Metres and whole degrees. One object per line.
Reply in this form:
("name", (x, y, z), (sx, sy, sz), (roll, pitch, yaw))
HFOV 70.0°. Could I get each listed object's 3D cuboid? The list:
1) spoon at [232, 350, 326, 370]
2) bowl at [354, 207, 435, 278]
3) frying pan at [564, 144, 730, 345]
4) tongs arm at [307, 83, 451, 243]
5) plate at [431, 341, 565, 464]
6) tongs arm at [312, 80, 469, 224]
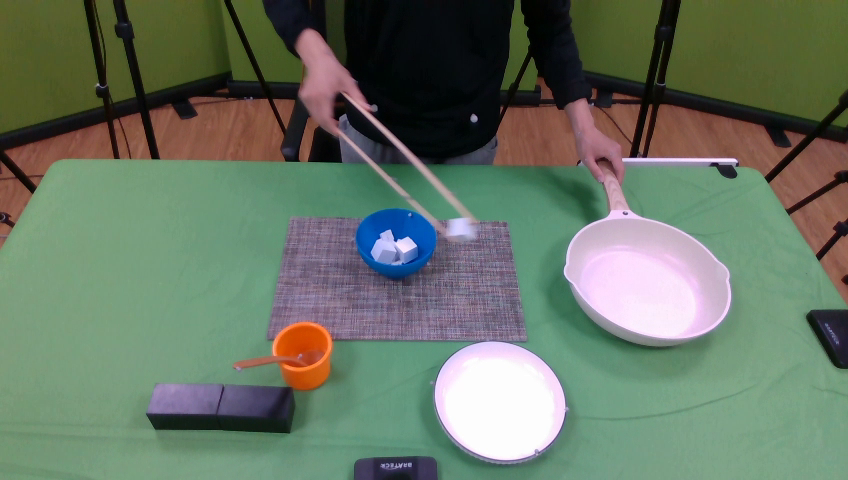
("spoon", (-0.216, 0.182, 0.919), (0.041, 0.194, 0.021), (43, 102, 27))
("bowl", (-0.056, 0.018, 1.132), (0.151, 0.077, 0.150), (2, 46, -2))
("frying pan", (0.396, -0.008, 1.179), (0.307, 0.103, 0.484), (0, 55, -5))
("tongs arm", (-0.080, -0.141, 1.079), (0.383, 0.026, 0.051), (43, 100, 12))
("plate", (0.114, 0.255, 0.952), (0.208, 0.039, 0.206), (3, 46, -2))
("tongs arm", (-0.060, -0.161, 1.075), (0.386, 0.028, 0.028), (45, 14, 12))
